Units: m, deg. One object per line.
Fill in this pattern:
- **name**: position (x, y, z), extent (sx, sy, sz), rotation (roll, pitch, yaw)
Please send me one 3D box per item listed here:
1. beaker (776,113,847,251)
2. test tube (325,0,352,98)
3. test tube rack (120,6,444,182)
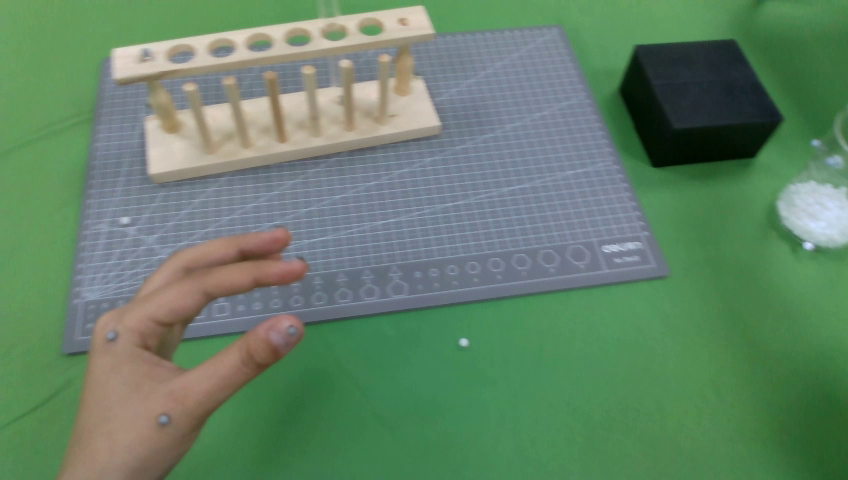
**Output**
- **beaker**: position (0.333, -0.046, 0.475), extent (0.074, 0.101, 0.083), rotation (-5, 57, -6)
- **test tube**: position (-0.067, -0.172, 0.474), extent (0.017, 0.151, 0.017), rotation (0, 53, 0)
- **test tube rack**: position (-0.106, -0.120, 0.498), extent (0.243, 0.086, 0.066), rotation (-12, 59, -11)
